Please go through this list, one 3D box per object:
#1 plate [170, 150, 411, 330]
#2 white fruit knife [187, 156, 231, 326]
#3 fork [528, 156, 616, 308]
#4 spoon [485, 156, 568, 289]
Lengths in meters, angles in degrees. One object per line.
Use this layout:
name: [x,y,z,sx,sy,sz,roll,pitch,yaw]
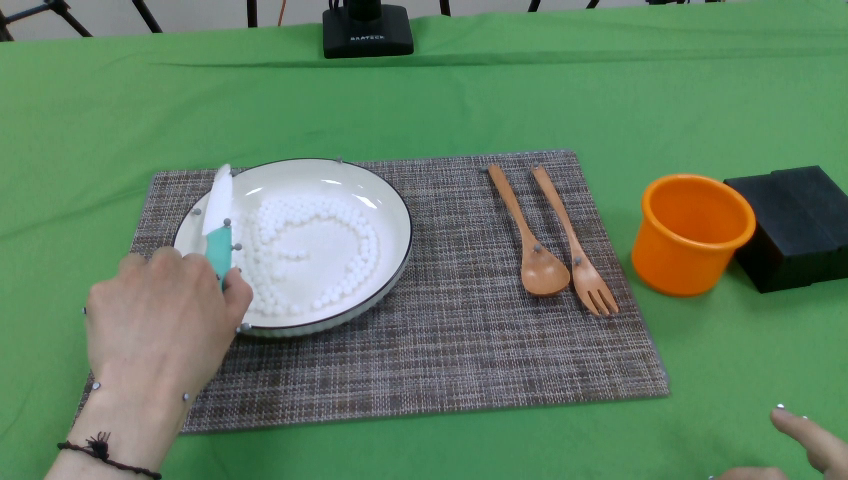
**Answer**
plate: [-0.115,-0.002,0.545,0.209,0.038,0.207,0,47,0]
white fruit knife: [-0.177,-0.011,0.517,0.027,0.016,0.205,-8,46,-6]
fork: [0.132,-0.016,0.572,0.028,0.019,0.205,-11,50,-3]
spoon: [0.089,-0.024,0.577,0.041,0.022,0.191,-21,49,5]
